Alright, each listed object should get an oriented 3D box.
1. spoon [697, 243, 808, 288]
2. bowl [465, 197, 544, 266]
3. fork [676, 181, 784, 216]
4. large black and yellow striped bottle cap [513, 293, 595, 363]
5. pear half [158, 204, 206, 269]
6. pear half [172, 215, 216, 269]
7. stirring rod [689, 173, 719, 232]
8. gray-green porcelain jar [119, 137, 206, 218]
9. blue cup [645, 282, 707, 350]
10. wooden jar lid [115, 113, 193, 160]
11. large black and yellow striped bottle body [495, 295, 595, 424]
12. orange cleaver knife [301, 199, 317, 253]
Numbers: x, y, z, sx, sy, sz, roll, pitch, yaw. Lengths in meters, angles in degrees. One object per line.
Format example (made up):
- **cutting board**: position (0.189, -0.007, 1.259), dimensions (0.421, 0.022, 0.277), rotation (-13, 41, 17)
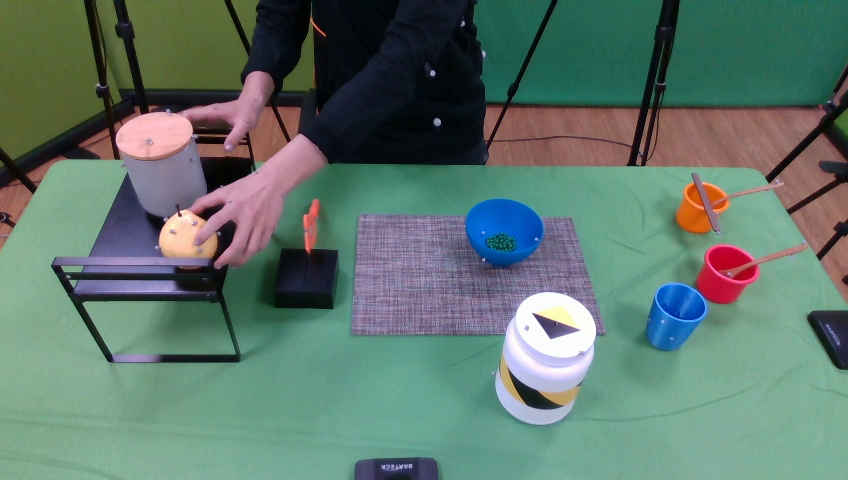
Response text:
- **spoon**: position (0.601, 0.045, 1.115), dimensions (0.194, 0.022, 0.041), rotation (-29, 35, 30)
- **bowl**: position (0.149, -0.004, 1.167), dimensions (0.151, 0.077, 0.150), rotation (2, 46, -2)
- **fork**: position (0.618, -0.083, 1.235), dimensions (0.019, 0.207, 0.028), rotation (55, 40, -15)
- **large black and yellow striped bottle cap**: position (0.186, 0.123, 0.863), dimensions (0.115, 0.019, 0.114), rotation (3, 45, -3)
- **pear half**: position (-0.352, -0.015, 0.872), dimensions (0.056, 0.110, 0.076), rotation (23, 44, 16)
- **pear half**: position (-0.322, 0.006, 0.868), dimensions (0.031, 0.088, 0.070), rotation (22, 44, 17)
- **stirring rod**: position (0.565, -0.080, 1.225), dimensions (0.014, 0.006, 0.175), rotation (3, 46, 1)
- **gray-green porcelain jar**: position (-0.403, -0.106, 0.946), dimensions (0.106, 0.127, 0.105), rotation (3, 46, -2)
- **blue cup**: position (0.425, 0.136, 1.042), dimensions (0.093, 0.101, 0.092), rotation (1, 44, -1)
- **wooden jar lid**: position (-0.399, -0.151, 0.900), dimensions (0.108, 0.021, 0.107), rotation (3, 46, -3)
- **large black and yellow striped bottle body**: position (0.183, 0.182, 0.923), dimensions (0.131, 0.185, 0.130), rotation (2, 46, -2)
- **orange cleaver knife**: position (-0.219, -0.031, 1.168), dimensions (0.012, 0.077, 0.210), rotation (-5, 17, -3)
